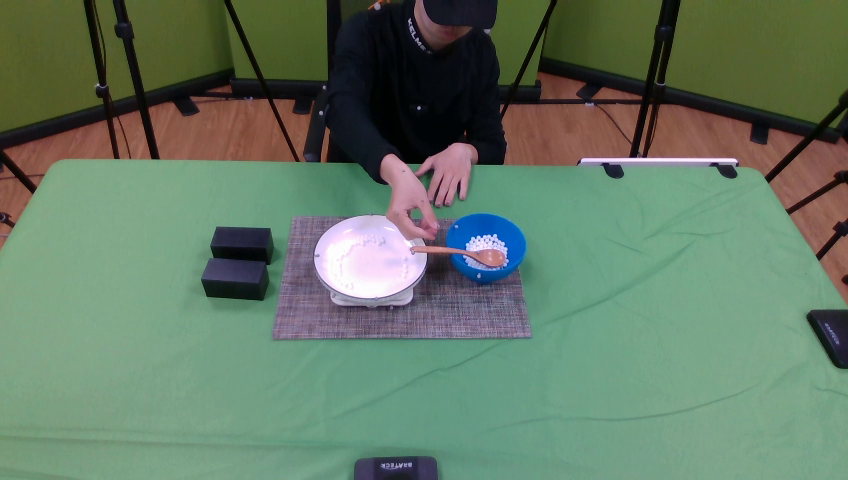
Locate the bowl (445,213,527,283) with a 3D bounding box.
[{"bbox_3d":[0.111,0.028,1.137,0.151,0.077,0.150,2,46,-2],"label":"bowl"}]

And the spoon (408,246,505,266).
[{"bbox_3d":[0.061,0.023,1.091,0.194,0.022,0.041,9,49,-27],"label":"spoon"}]

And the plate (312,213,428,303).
[{"bbox_3d":[-0.097,0.035,1.100,0.209,0.038,0.208,2,46,-2],"label":"plate"}]

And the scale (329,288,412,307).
[{"bbox_3d":[-0.098,0.042,1.139,0.149,0.032,0.199,0,46,-4],"label":"scale"}]
